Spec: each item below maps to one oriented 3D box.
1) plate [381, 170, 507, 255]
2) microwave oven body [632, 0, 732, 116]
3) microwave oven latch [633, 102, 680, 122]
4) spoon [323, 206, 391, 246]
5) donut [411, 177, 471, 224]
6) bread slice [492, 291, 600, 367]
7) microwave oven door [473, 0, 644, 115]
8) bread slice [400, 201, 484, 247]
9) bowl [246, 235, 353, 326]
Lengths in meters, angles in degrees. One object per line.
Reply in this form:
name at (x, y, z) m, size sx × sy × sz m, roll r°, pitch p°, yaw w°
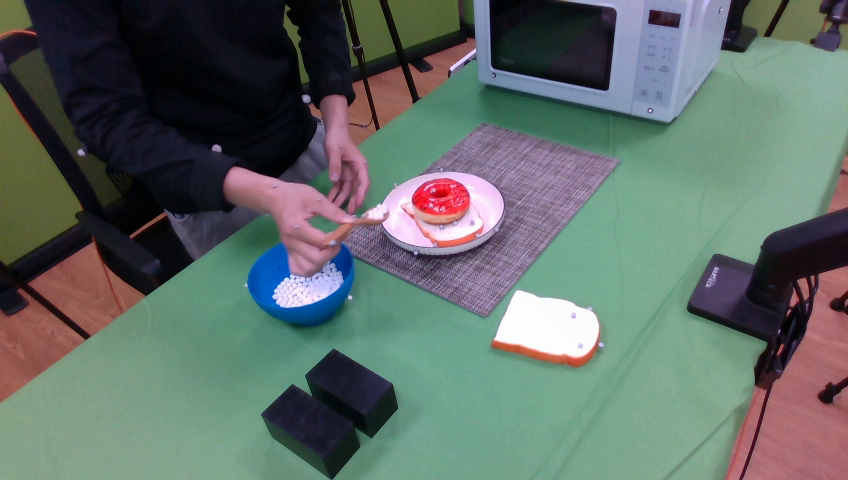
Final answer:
plate at (0.033, -0.042, 0.995) m, size 0.207 × 0.039 × 0.206 m, roll -4°, pitch 40°, yaw 4°
microwave oven body at (0.377, -0.462, 1.267) m, size 0.438 × 0.261 × 0.327 m, roll 21°, pitch 48°, yaw 30°
microwave oven latch at (0.444, -0.249, 1.157) m, size 0.078 × 0.029 × 0.030 m, roll 21°, pitch 49°, yaw 30°
spoon at (-0.089, -0.021, 0.789) m, size 0.041 × 0.021 × 0.194 m, roll 4°, pitch 12°, yaw 16°
donut at (0.028, -0.064, 0.978) m, size 0.099 × 0.048 × 0.098 m, roll -4°, pitch 39°, yaw 4°
bread slice at (0.169, 0.118, 0.811) m, size 0.131 × 0.019 × 0.105 m, roll 11°, pitch 44°, yaw 21°
microwave oven door at (0.257, -0.396, 1.199) m, size 0.353 × 0.245 × 0.039 m, roll 21°, pitch 48°, yaw 29°
bread slice at (0.037, -0.038, 0.990) m, size 0.107 × 0.018 × 0.133 m, roll -23°, pitch 43°, yaw -17°
bowl at (-0.170, 0.070, 0.868) m, size 0.151 × 0.077 × 0.150 m, roll -4°, pitch 41°, yaw 4°
